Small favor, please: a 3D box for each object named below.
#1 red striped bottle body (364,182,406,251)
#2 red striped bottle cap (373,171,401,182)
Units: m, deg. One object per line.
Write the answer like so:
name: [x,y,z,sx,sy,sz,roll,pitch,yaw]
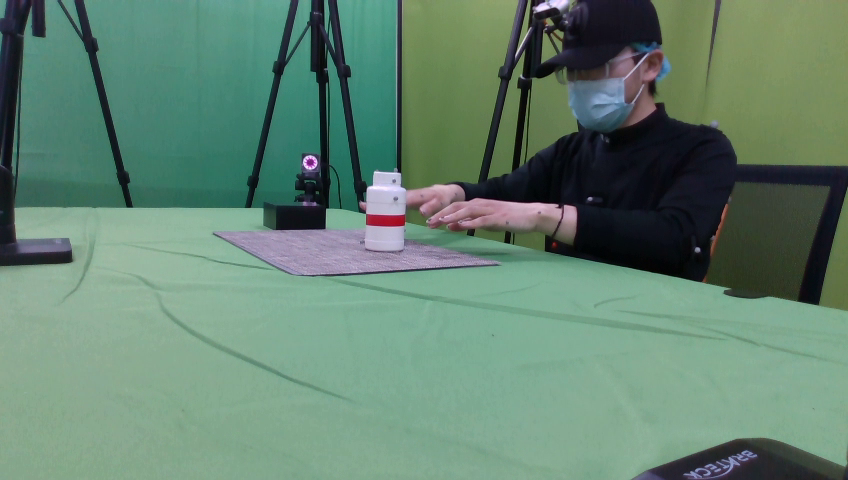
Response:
red striped bottle body: [-0.060,-0.046,0.943,0.063,0.119,0.063,3,7,0]
red striped bottle cap: [-0.058,-0.098,0.936,0.044,0.017,0.044,1,5,0]
